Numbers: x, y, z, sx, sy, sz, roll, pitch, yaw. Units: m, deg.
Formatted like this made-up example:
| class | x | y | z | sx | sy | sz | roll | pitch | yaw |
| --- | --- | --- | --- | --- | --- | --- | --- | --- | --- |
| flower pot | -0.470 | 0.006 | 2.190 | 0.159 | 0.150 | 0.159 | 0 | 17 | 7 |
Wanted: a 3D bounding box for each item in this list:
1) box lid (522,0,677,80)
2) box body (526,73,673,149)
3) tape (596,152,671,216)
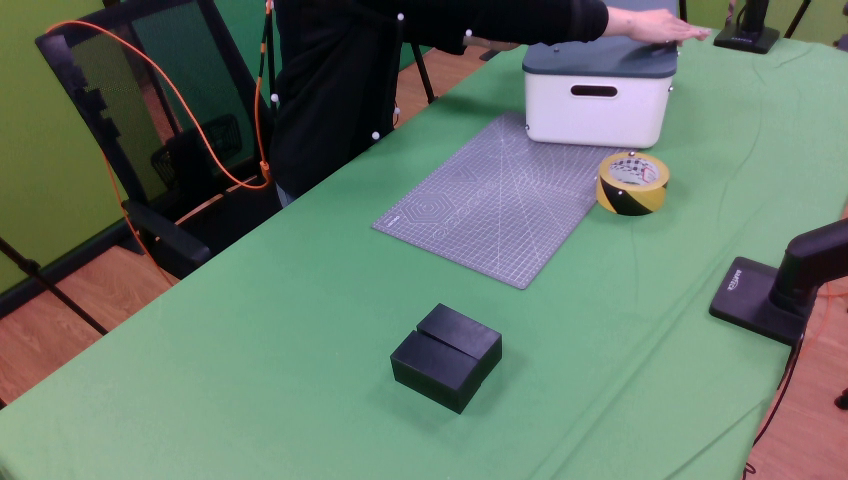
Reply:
| class | x | y | z | sx | sy | sz | roll | pitch | yaw |
| --- | --- | --- | --- | --- | --- | --- | --- | --- | --- |
| box lid | 0.346 | -0.397 | 1.163 | 0.262 | 0.015 | 0.371 | 6 | 42 | 17 |
| box body | 0.356 | -0.342 | 1.212 | 0.253 | 0.161 | 0.363 | 7 | 42 | 17 |
| tape | 0.349 | -0.095 | 1.009 | 0.117 | 0.053 | 0.116 | -3 | 42 | 3 |
